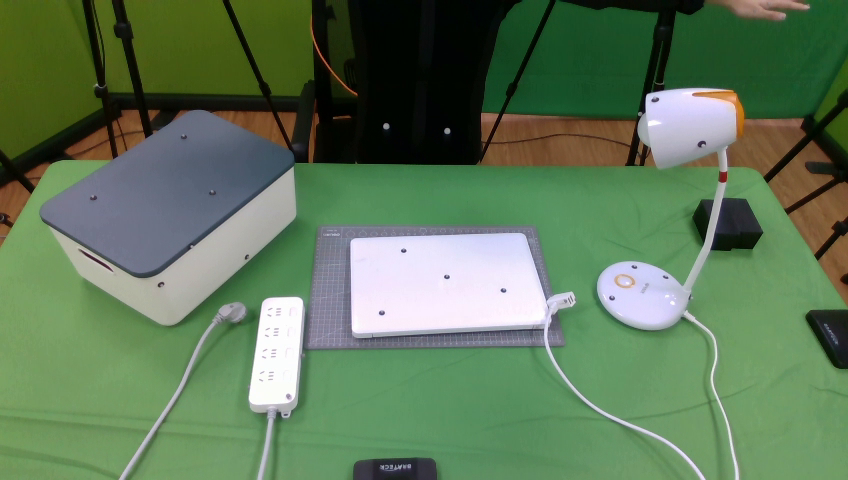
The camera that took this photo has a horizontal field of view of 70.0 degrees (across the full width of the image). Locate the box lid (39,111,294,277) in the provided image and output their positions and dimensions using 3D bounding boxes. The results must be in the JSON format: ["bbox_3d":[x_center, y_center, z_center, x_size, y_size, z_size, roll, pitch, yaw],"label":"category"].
[{"bbox_3d":[-0.434,-0.097,1.055,0.262,0.015,0.370,25,49,18],"label":"box lid"}]

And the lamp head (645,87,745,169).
[{"bbox_3d":[0.382,-0.161,0.852,0.122,0.113,0.112,-4,42,25],"label":"lamp head"}]

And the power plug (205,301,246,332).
[{"bbox_3d":[-0.337,0.132,1.032,0.072,0.053,0.035,-35,59,-12],"label":"power plug"}]

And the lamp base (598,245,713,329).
[{"bbox_3d":[0.420,0.051,1.071,0.179,0.181,0.160,22,49,13],"label":"lamp base"}]

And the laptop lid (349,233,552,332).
[{"bbox_3d":[0.040,0.070,1.119,0.357,0.013,0.240,-1,44,-5],"label":"laptop lid"}]

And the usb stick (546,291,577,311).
[{"bbox_3d":[0.241,0.110,1.086,0.027,0.059,0.021,-36,102,-42],"label":"usb stick"}]

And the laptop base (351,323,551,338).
[{"bbox_3d":[0.040,0.080,1.125,0.355,0.023,0.234,-2,43,-6],"label":"laptop base"}]

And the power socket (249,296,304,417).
[{"bbox_3d":[-0.240,0.182,0.996,0.072,0.033,0.225,-2,47,-4],"label":"power socket"}]

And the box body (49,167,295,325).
[{"bbox_3d":[-0.437,-0.046,1.110,0.253,0.161,0.363,24,49,19],"label":"box body"}]
